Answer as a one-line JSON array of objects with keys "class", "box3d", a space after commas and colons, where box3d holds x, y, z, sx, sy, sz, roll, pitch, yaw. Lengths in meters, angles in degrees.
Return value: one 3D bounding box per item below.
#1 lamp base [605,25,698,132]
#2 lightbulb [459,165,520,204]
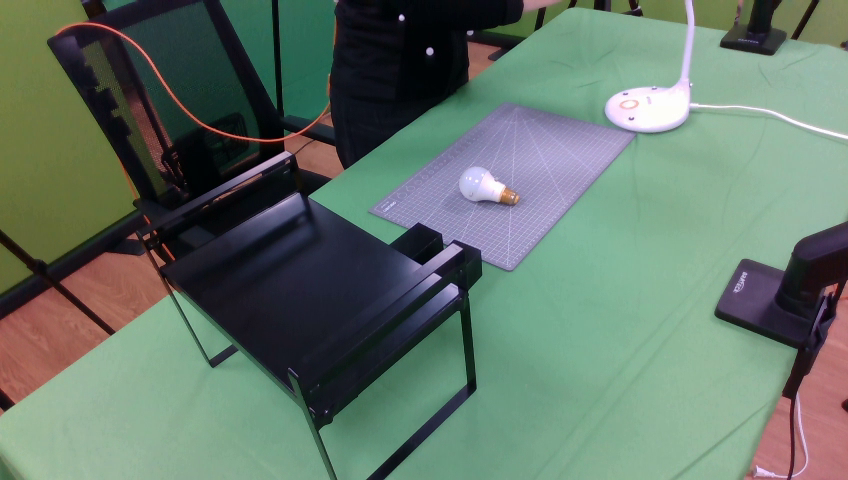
[{"class": "lamp base", "box3d": [0.449, -0.322, 1.162, 0.179, 0.181, 0.159, -6, 41, -2]}, {"class": "lightbulb", "box3d": [0.113, -0.090, 1.037, 0.107, 0.059, 0.059, 22, 47, 10]}]
